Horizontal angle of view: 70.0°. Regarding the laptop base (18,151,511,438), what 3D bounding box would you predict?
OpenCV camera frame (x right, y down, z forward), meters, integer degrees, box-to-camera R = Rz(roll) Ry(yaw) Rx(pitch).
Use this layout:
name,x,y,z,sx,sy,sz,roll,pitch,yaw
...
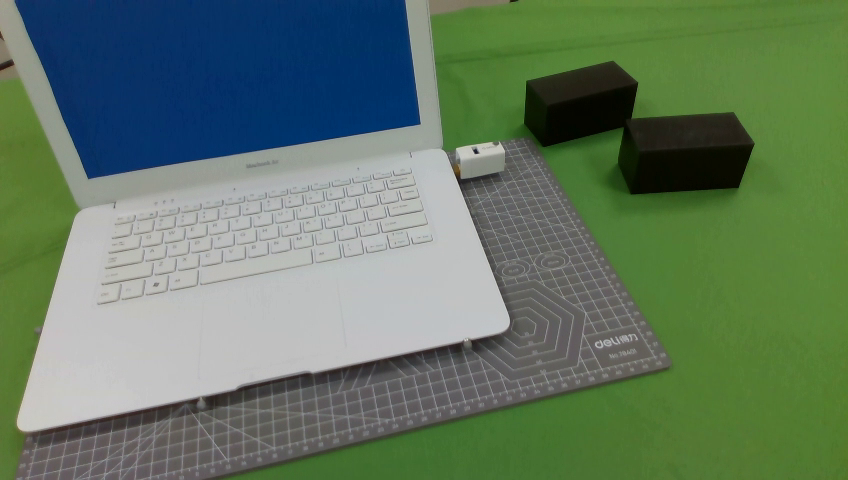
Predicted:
name,x,y,z,sx,sy,sz,roll,pitch,yaw
laptop base,-0.128,0.027,0.511,0.355,0.023,0.233,-11,47,-6

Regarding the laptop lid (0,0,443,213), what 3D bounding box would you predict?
name,x,y,z,sx,sy,sz,roll,pitch,yaw
laptop lid,-0.165,-0.154,0.536,0.357,0.244,0.013,-12,30,-6

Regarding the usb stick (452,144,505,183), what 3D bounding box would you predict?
name,x,y,z,sx,sy,sz,roll,pitch,yaw
usb stick,0.047,-0.073,0.582,0.059,0.027,0.021,-13,45,-5
